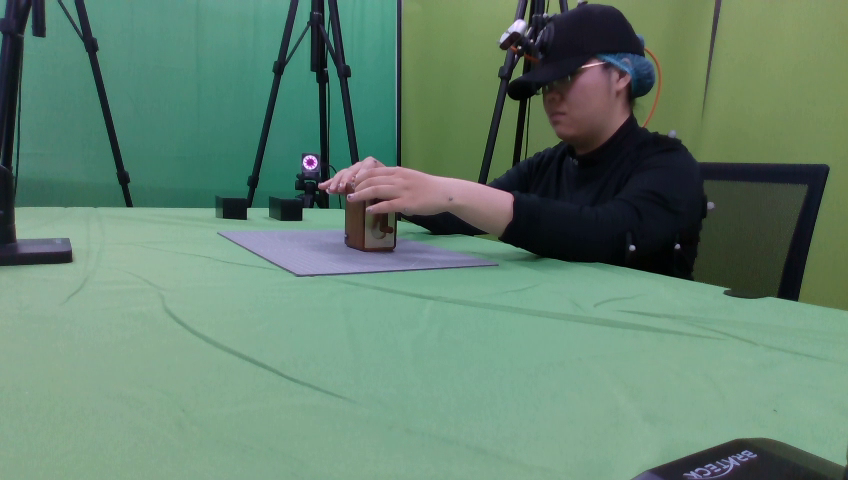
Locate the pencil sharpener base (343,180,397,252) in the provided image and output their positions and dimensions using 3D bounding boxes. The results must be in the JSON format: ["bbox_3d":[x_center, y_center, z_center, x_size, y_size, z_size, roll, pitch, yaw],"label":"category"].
[{"bbox_3d":[-0.085,-0.038,0.956,0.062,0.107,0.076,-2,9,-33],"label":"pencil sharpener base"}]

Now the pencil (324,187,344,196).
[{"bbox_3d":[-0.126,-0.077,1.021,0.012,0.012,0.193,-2,10,-33],"label":"pencil"}]

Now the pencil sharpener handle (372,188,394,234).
[{"bbox_3d":[-0.056,-0.044,0.913,0.036,0.067,0.030,-6,11,-33],"label":"pencil sharpener handle"}]
